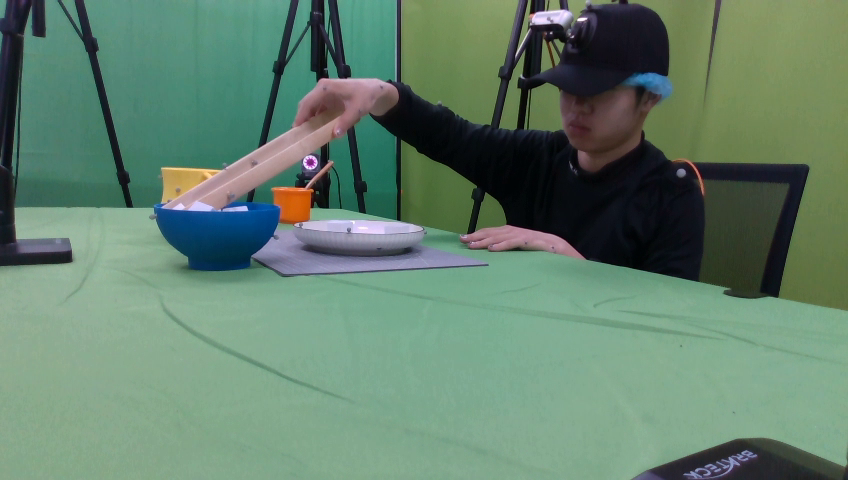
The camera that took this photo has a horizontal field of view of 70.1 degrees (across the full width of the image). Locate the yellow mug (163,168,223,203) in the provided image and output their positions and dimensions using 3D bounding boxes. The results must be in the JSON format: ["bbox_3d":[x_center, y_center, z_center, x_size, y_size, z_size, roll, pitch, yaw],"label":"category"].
[{"bbox_3d":[-0.383,-0.087,1.026,0.130,0.064,0.100,11,11,44],"label":"yellow mug"}]

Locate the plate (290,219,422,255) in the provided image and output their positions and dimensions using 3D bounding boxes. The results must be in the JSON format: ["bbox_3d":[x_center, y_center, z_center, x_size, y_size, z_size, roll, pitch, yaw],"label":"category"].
[{"bbox_3d":[-0.108,-0.005,0.963,0.208,0.039,0.207,3,7,0],"label":"plate"}]

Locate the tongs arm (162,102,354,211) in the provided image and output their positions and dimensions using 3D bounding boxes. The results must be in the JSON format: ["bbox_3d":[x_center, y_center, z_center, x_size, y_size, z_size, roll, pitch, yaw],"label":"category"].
[{"bbox_3d":[-0.219,-0.125,0.884,0.050,0.026,0.385,3,32,28],"label":"tongs arm"}]

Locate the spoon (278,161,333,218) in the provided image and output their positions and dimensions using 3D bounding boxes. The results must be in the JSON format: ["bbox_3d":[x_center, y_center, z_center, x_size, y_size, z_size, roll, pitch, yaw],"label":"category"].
[{"bbox_3d":[-0.262,-0.115,1.359,0.041,0.194,0.022,13,-33,38],"label":"spoon"}]

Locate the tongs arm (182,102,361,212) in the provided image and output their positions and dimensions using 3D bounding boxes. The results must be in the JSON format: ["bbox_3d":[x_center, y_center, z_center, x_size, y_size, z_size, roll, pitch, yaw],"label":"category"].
[{"bbox_3d":[-0.197,-0.122,0.871,0.028,0.028,0.388,2,31,33],"label":"tongs arm"}]

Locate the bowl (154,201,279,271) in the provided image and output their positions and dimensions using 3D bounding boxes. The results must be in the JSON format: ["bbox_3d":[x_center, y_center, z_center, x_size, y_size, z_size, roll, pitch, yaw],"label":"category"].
[{"bbox_3d":[-0.261,-0.005,0.769,0.151,0.077,0.151,2,8,0],"label":"bowl"}]
